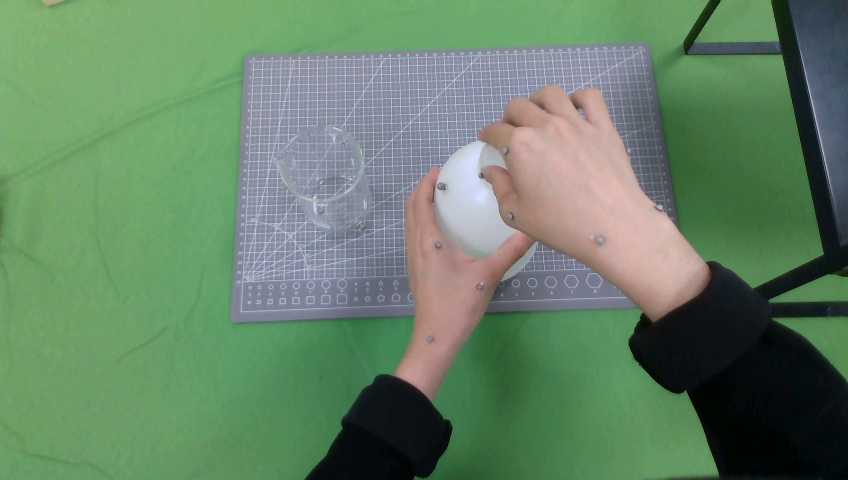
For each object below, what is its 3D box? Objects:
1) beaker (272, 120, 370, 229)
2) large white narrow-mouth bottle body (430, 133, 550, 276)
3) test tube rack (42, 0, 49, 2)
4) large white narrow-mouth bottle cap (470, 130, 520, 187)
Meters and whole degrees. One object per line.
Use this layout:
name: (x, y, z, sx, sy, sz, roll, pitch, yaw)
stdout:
beaker: (-0.093, -0.057, 0.577, 0.084, 0.101, 0.073, 8, 73, 3)
large white narrow-mouth bottle body: (0.056, -0.034, 0.523, 0.102, 0.195, 0.101, 0, 74, 2)
test tube rack: (-0.338, -0.359, 0.675, 0.242, 0.085, 0.066, -23, 74, -7)
large white narrow-mouth bottle cap: (0.052, -0.058, 0.439, 0.038, 0.024, 0.037, 0, 75, 2)
